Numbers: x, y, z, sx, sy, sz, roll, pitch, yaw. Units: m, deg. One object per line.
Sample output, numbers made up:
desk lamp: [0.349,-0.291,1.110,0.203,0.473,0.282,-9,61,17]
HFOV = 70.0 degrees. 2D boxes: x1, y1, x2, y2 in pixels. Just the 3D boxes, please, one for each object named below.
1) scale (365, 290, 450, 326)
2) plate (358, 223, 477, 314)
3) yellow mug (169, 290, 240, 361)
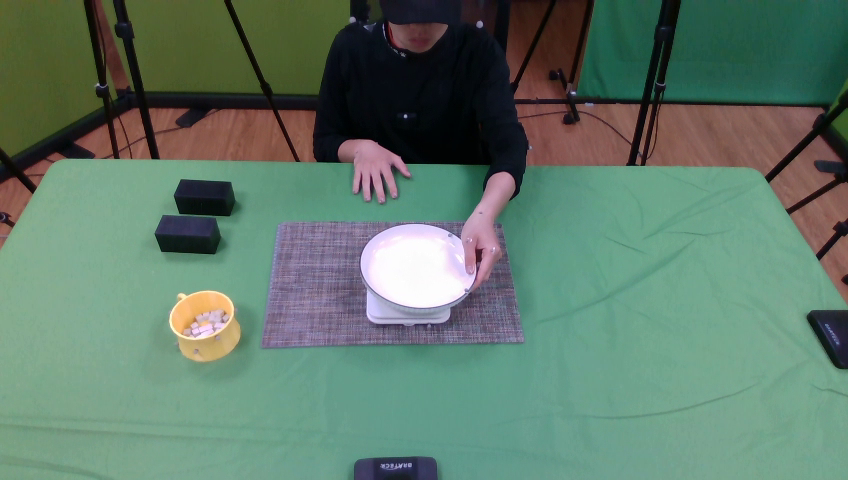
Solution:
scale: [-0.032,0.071,1.113,0.149,0.032,0.199,0,46,-4]
plate: [-0.012,0.053,1.063,0.209,0.038,0.208,4,43,-3]
yellow mug: [-0.373,0.133,1.009,0.130,0.064,0.100,35,53,27]
